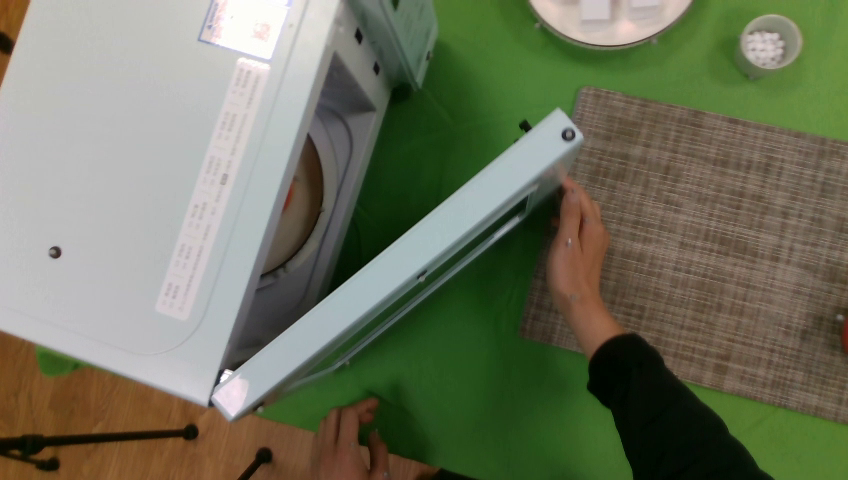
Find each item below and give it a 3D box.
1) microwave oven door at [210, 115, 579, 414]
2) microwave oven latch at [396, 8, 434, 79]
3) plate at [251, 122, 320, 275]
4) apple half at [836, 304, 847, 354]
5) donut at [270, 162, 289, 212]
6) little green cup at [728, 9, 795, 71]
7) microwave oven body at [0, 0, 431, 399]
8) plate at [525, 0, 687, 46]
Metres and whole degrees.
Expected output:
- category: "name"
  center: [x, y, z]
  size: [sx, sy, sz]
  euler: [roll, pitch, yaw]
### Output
- category: "microwave oven door"
  center: [-0.012, 0.029, 0.584]
  size: [0.356, 0.244, 0.039]
  euler: [-39, 81, 3]
- category: "microwave oven latch"
  center: [-0.012, -0.230, 0.701]
  size: [0.030, 0.029, 0.079]
  euler: [20, 90, 7]
- category: "plate"
  center: [-0.215, -0.061, 0.667]
  size: [0.209, 0.038, 0.209]
  euler: [0, 88, 4]
- category: "apple half"
  center: [0.460, 0.086, 0.623]
  size: [0.053, 0.075, 0.081]
  euler: [34, 94, 12]
- category: "donut"
  center: [-0.195, -0.068, 0.659]
  size: [0.099, 0.048, 0.099]
  euler: [0, 91, 8]
- category: "little green cup"
  center: [0.372, -0.219, 0.674]
  size: [0.061, 0.039, 0.061]
  euler: [-1, 86, 7]
- category: "microwave oven body"
  center: [-0.217, -0.111, 0.622]
  size: [0.325, 0.261, 0.441]
  euler: [17, 89, 7]
- category: "plate"
  center: [0.209, -0.322, 0.699]
  size: [0.207, 0.039, 0.207]
  euler: [0, 86, 7]
